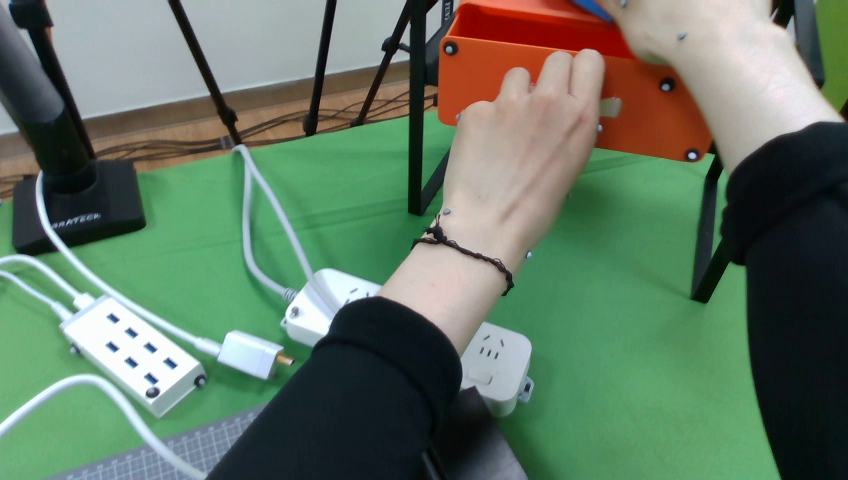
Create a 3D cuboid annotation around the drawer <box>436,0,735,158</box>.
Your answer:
[{"bbox_3d":[0.126,-0.167,0.487,0.194,0.074,0.210,10,46,8],"label":"drawer"}]

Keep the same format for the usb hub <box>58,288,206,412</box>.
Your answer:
[{"bbox_3d":[-0.244,0.089,0.504,0.124,0.025,0.049,28,50,23],"label":"usb hub"}]

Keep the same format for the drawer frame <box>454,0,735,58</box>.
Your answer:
[{"bbox_3d":[0.139,-0.207,0.528,0.201,0.083,0.212,9,45,5],"label":"drawer frame"}]

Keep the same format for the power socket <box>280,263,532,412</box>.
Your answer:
[{"bbox_3d":[-0.016,0.080,0.522,0.226,0.033,0.072,18,46,15],"label":"power socket"}]

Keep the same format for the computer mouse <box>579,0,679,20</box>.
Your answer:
[{"bbox_3d":[0.135,-0.201,0.453,0.063,0.041,0.116,-13,40,-20],"label":"computer mouse"}]

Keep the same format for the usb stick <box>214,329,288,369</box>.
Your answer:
[{"bbox_3d":[-0.141,0.092,0.504,0.059,0.021,0.027,14,86,-9],"label":"usb stick"}]
